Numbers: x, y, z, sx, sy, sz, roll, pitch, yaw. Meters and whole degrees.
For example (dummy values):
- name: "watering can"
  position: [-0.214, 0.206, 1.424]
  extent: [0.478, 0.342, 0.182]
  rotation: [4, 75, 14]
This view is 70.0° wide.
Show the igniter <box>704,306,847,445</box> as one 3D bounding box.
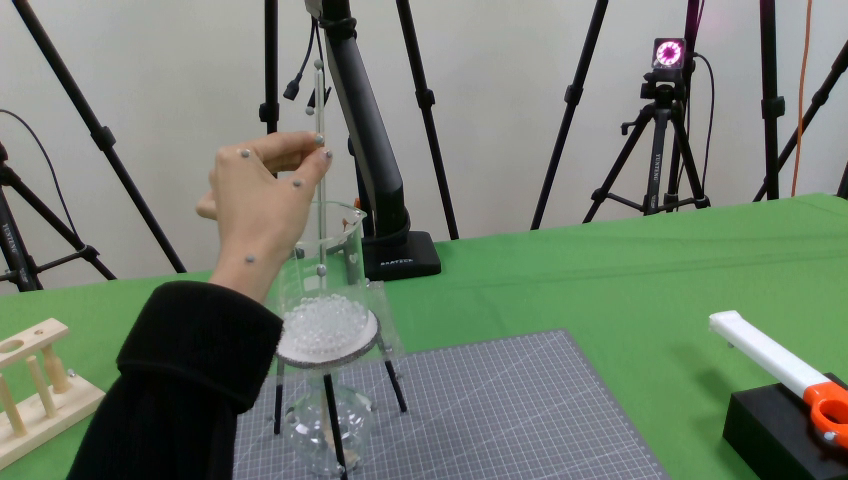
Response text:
- name: "igniter"
  position: [0.328, 0.128, 0.497]
  extent: [0.057, 0.025, 0.274]
  rotation: [-9, 24, -10]

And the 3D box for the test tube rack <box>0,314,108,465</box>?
- name: "test tube rack"
  position: [-0.426, 0.169, 0.542]
  extent: [0.066, 0.086, 0.242]
  rotation: [16, 32, 32]

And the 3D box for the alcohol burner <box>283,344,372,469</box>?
- name: "alcohol burner"
  position: [-0.085, 0.139, 0.525]
  extent: [0.078, 0.120, 0.077]
  rotation: [-1, 27, 1]

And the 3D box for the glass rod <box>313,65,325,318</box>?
- name: "glass rod"
  position: [-0.081, -0.030, 0.465]
  extent: [0.008, 0.201, 0.008]
  rotation: [2, 20, -1]

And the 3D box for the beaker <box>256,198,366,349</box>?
- name: "beaker"
  position: [-0.081, 0.026, 0.471]
  extent: [0.084, 0.101, 0.073]
  rotation: [-18, 32, -28]

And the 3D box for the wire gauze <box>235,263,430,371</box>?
- name: "wire gauze"
  position: [-0.076, 0.058, 0.481]
  extent: [0.125, 0.011, 0.120]
  rotation: [-14, 27, -29]

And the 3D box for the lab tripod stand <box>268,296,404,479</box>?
- name: "lab tripod stand"
  position: [-0.076, 0.129, 0.522]
  extent: [0.148, 0.132, 0.147]
  rotation: [-1, 28, 1]
